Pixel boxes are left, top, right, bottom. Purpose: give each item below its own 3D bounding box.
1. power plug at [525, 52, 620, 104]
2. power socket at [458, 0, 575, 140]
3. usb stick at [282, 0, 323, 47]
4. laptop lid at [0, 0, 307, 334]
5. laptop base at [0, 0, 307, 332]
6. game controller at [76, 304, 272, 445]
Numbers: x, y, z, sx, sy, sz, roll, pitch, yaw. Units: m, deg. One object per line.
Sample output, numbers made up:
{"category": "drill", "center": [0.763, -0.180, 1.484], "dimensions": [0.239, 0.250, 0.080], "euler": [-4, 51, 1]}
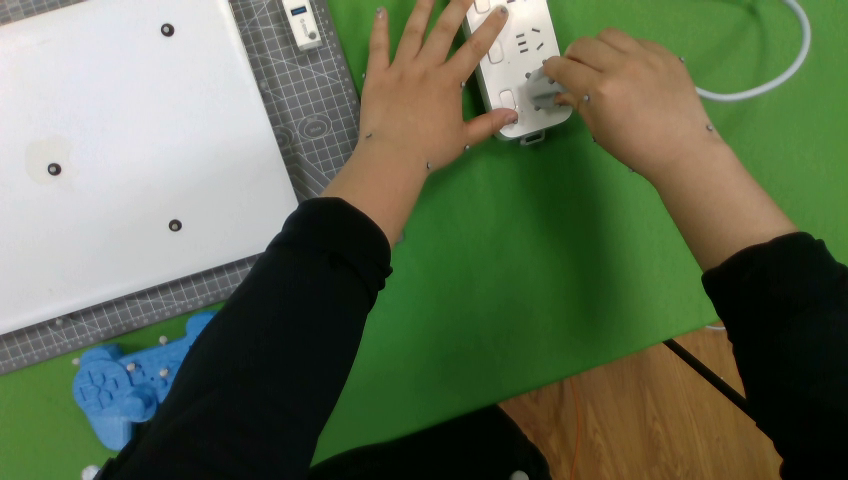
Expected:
{"category": "power plug", "center": [0.121, -0.133, 0.505], "dimensions": [0.072, 0.052, 0.035], "euler": [-3, 99, 2]}
{"category": "power socket", "center": [0.070, -0.199, 0.523], "dimensions": [0.072, 0.032, 0.227], "euler": [-18, 99, -1]}
{"category": "usb stick", "center": [-0.104, -0.194, 0.507], "dimensions": [0.021, 0.027, 0.059], "euler": [-18, 96, -1]}
{"category": "laptop lid", "center": [-0.301, -0.060, 0.500], "dimensions": [0.357, 0.013, 0.242], "euler": [-16, 101, -3]}
{"category": "laptop base", "center": [-0.302, -0.064, 0.511], "dimensions": [0.354, 0.023, 0.236], "euler": [-18, 102, -3]}
{"category": "game controller", "center": [-0.221, 0.118, 0.529], "dimensions": [0.155, 0.051, 0.097], "euler": [-18, 94, -3]}
